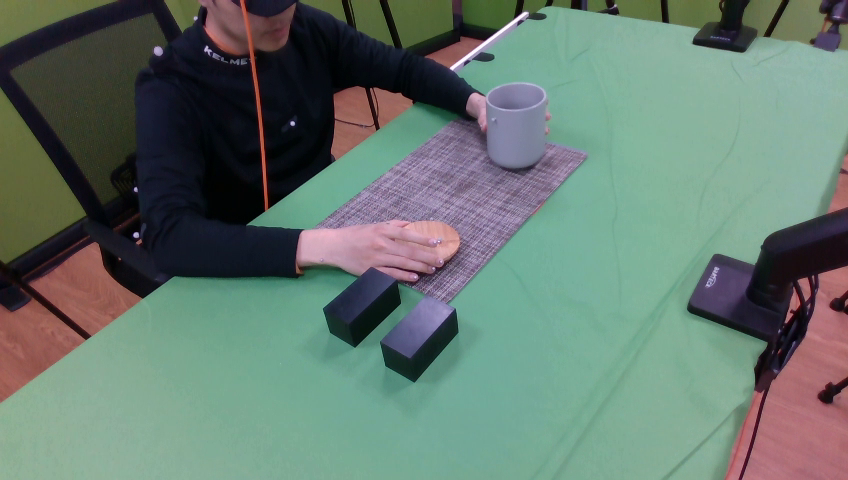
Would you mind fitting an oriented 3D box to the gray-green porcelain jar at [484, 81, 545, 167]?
[{"bbox_3d":[0.162,-0.203,1.080,0.106,0.127,0.105,-4,40,4],"label":"gray-green porcelain jar"}]

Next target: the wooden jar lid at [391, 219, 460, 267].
[{"bbox_3d":[0.002,0.006,0.947,0.108,0.021,0.108,-2,37,2],"label":"wooden jar lid"}]
